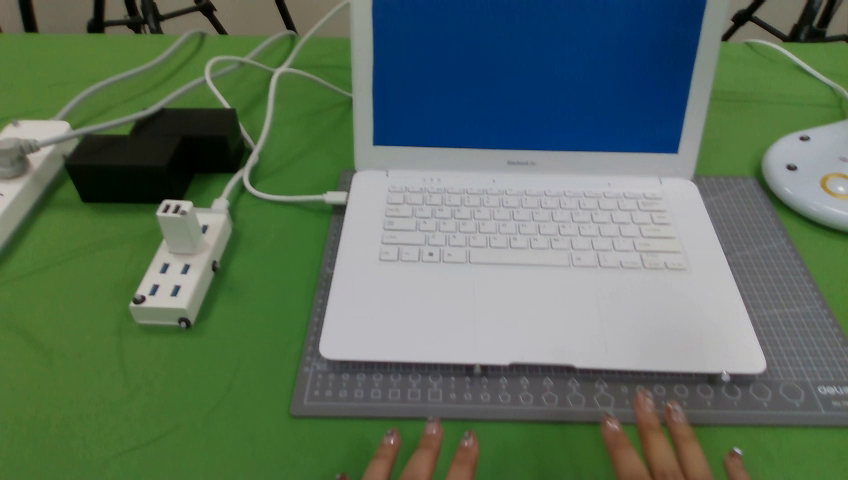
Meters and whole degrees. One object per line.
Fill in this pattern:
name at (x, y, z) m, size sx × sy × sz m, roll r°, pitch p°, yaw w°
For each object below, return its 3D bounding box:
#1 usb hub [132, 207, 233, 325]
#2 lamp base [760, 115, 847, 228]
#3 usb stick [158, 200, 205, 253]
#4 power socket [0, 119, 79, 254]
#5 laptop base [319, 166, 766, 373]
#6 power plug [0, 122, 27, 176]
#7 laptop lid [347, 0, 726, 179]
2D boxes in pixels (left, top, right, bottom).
usb hub at (-0.214, 0.019, 0.545) m, size 0.049 × 0.025 × 0.124 m, roll 2°, pitch 44°, yaw 2°
lamp base at (0.446, -0.129, 0.593) m, size 0.159 × 0.182 × 0.178 m, roll 24°, pitch 47°, yaw 22°
usb stick at (-0.210, -0.006, 0.530) m, size 0.027 × 0.060 × 0.021 m, roll 0°, pitch 45°, yaw 2°
power socket at (-0.425, -0.052, 0.608) m, size 0.072 × 0.033 × 0.224 m, roll 3°, pitch 44°, yaw 0°
laptop base at (0.096, 0.019, 0.554) m, size 0.354 × 0.023 × 0.233 m, roll 2°, pitch 48°, yaw 1°
power plug at (-0.421, -0.089, 0.615) m, size 0.035 × 0.053 × 0.072 m, roll -3°, pitch 37°, yaw -17°
laptop lid at (0.102, -0.172, 0.589) m, size 0.357 × 0.243 × 0.013 m, roll 0°, pitch 24°, yaw 1°
